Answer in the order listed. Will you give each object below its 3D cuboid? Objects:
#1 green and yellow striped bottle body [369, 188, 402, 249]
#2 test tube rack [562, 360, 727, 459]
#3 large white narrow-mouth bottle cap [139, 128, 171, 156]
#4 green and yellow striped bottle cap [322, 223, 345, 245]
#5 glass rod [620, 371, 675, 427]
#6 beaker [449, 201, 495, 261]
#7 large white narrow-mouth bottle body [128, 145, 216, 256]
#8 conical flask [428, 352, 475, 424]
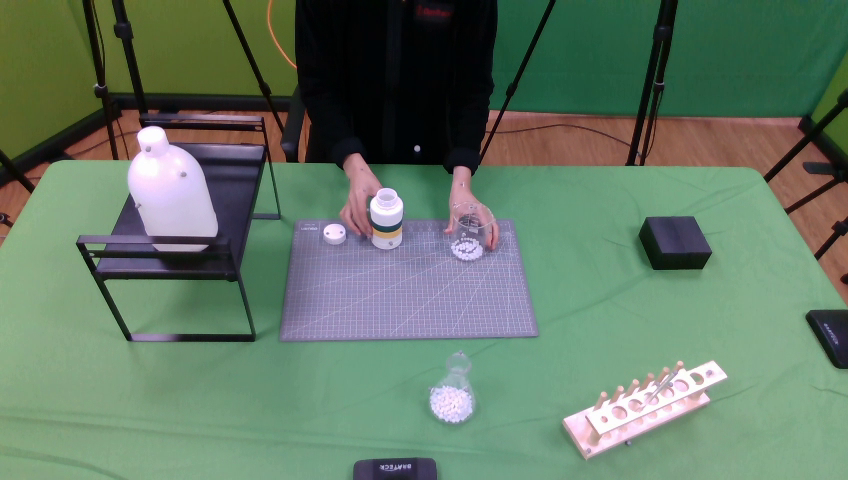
[{"bbox_3d":[-0.073,-0.044,1.162,0.063,0.120,0.063,2,46,-2],"label":"green and yellow striped bottle body"},{"bbox_3d":[0.341,0.247,0.940,0.243,0.085,0.066,-16,49,-18],"label":"test tube rack"},{"bbox_3d":[-0.359,-0.131,0.808,0.038,0.024,0.037,3,47,-3],"label":"large white narrow-mouth bottle cap"},{"bbox_3d":[-0.179,-0.013,1.198,0.045,0.020,0.045,2,49,-2],"label":"green and yellow striped bottle cap"},{"bbox_3d":[0.316,0.230,0.863,0.008,0.200,0.008,3,54,-3],"label":"glass rod"},{"bbox_3d":[0.089,-0.014,1.161,0.084,0.101,0.073,9,47,4],"label":"beaker"},{"bbox_3d":[-0.366,-0.073,0.872,0.102,0.195,0.101,3,47,-3],"label":"large white narrow-mouth bottle body"},{"bbox_3d":[0.046,0.220,0.920,0.075,0.122,0.075,2,46,-2],"label":"conical flask"}]
